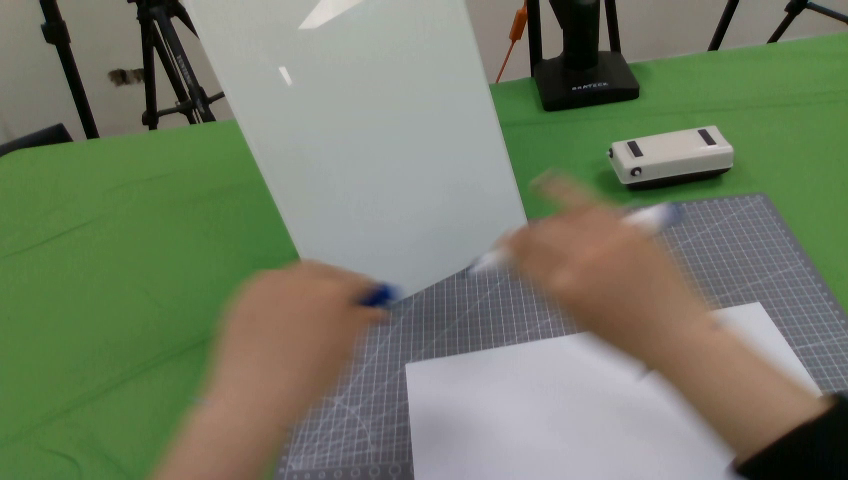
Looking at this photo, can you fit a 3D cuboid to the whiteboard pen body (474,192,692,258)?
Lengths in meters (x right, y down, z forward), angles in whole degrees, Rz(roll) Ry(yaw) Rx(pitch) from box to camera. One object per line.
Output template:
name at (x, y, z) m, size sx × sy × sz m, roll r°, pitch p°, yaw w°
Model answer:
whiteboard pen body at (0.099, -0.007, 0.394) m, size 0.140 × 0.017 × 0.017 m, roll -15°, pitch 40°, yaw 15°

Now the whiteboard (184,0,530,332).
whiteboard at (-0.059, -0.113, 0.574) m, size 0.217 × 0.307 × 0.142 m, roll -26°, pitch 23°, yaw -14°

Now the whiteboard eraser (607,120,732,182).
whiteboard eraser at (0.254, -0.091, 0.632) m, size 0.112 × 0.042 × 0.055 m, roll -8°, pitch 44°, yaw 3°

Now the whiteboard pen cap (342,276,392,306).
whiteboard pen cap at (-0.040, 0.036, 0.422) m, size 0.033 × 0.018 × 0.018 m, roll -9°, pitch 40°, yaw -17°
